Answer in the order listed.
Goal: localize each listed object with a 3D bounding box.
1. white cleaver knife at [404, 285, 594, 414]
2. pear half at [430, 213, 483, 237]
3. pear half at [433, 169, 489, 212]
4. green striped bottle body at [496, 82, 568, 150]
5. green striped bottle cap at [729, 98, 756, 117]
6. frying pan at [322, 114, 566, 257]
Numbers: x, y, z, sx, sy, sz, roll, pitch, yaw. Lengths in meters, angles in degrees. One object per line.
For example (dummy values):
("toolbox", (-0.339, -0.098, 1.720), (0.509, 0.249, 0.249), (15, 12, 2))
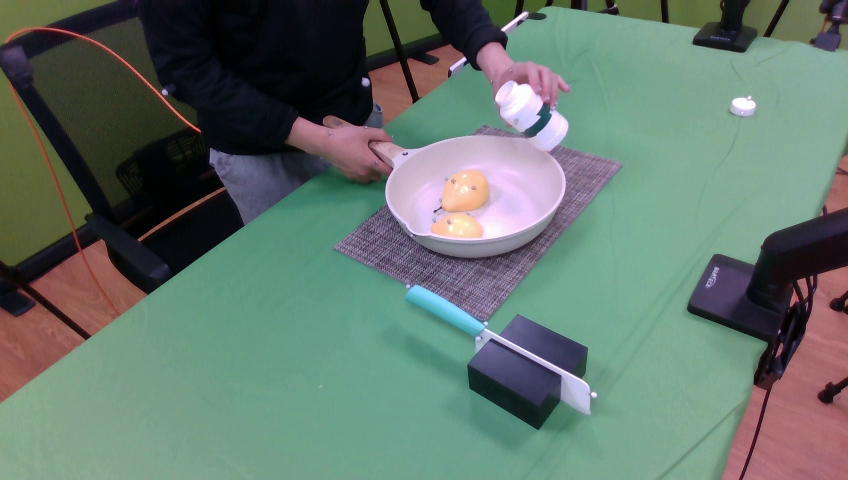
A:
("white cleaver knife", (0.084, 0.135, 0.764), (0.284, 0.066, 0.021), (28, 46, 31))
("pear half", (0.051, -0.024, 0.973), (0.087, 0.031, 0.070), (14, 40, 18))
("pear half", (0.057, -0.083, 1.024), (0.110, 0.056, 0.075), (-34, 42, -24))
("green striped bottle body", (0.166, -0.198, 0.948), (0.063, 0.120, 0.063), (-37, 35, 32))
("green striped bottle cap", (0.623, -0.259, 1.182), (0.044, 0.020, 0.044), (-3, 41, 3))
("frying pan", (0.004, -0.121, 1.039), (0.484, 0.103, 0.308), (31, 52, 25))
